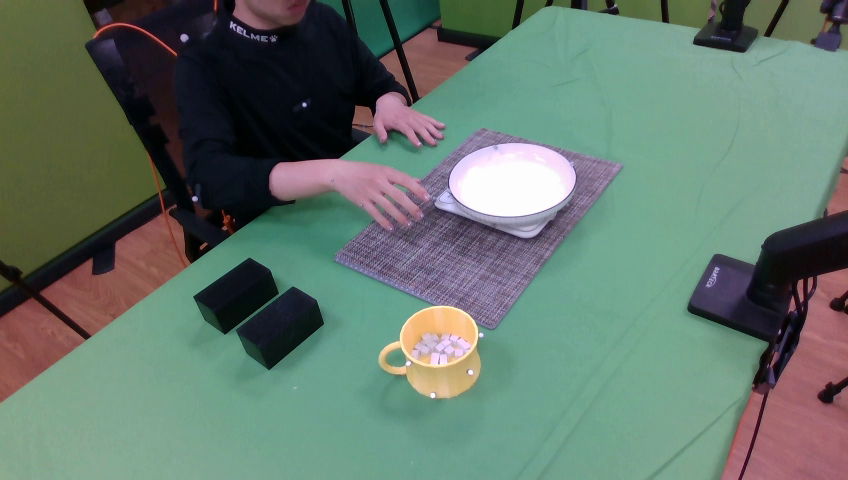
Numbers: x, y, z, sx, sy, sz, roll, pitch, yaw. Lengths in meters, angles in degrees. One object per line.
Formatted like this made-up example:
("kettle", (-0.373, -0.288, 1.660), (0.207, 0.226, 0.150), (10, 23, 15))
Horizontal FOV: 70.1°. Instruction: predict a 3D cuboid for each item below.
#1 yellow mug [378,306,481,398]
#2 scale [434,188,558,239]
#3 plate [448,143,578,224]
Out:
("yellow mug", (0.006, 0.144, 0.767), (0.131, 0.064, 0.099), (-10, 40, -2))
("scale", (0.132, -0.075, 1.025), (0.199, 0.032, 0.149), (22, 48, 30))
("plate", (0.145, -0.089, 0.989), (0.209, 0.038, 0.208), (-4, 41, 4))
